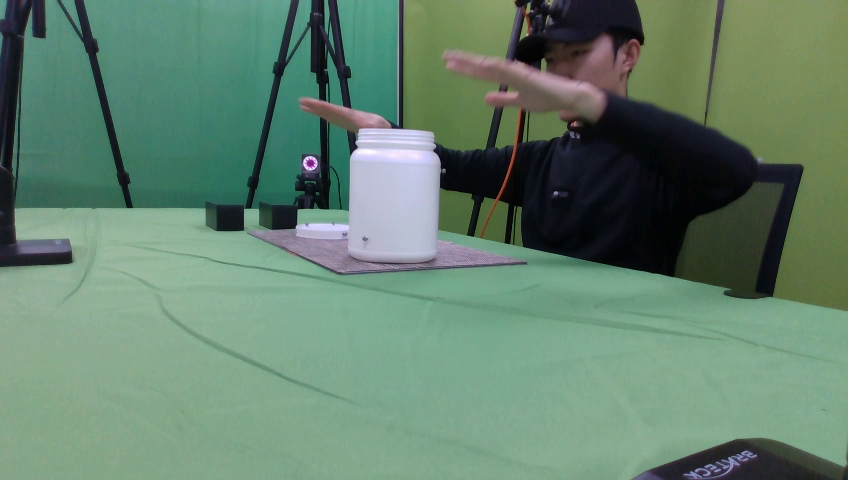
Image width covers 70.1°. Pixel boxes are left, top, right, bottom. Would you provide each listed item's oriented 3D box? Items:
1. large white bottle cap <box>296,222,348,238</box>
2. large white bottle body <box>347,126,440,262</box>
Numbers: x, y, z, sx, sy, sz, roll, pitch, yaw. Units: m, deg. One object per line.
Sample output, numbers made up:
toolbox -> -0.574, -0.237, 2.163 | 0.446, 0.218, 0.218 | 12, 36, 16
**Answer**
large white bottle cap -> -0.177, -0.019, 1.110 | 0.115, 0.018, 0.115 | 3, 7, 0
large white bottle body -> -0.043, -0.067, 0.868 | 0.131, 0.184, 0.130 | 2, 8, 0
